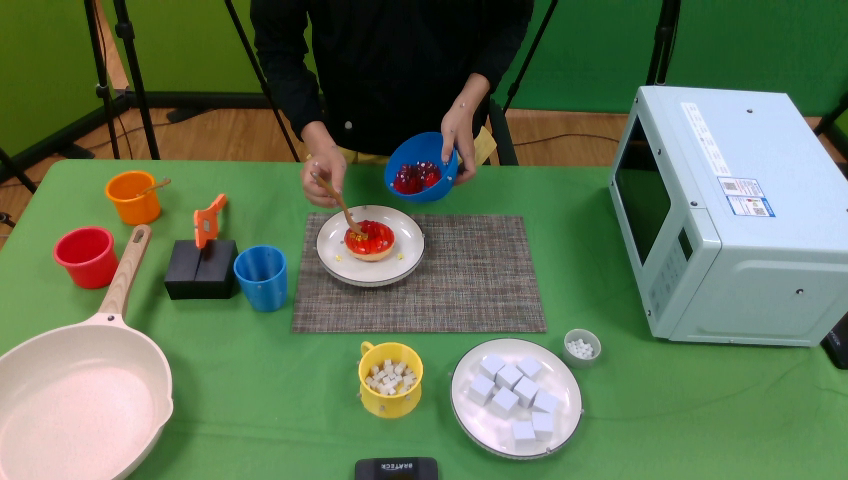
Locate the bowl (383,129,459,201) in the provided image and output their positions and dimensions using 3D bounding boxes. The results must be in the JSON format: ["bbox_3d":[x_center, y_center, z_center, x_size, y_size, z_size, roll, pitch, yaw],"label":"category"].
[{"bbox_3d":[0.008,-0.129,1.163,0.151,0.077,0.150,-15,54,22],"label":"bowl"}]

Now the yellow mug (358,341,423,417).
[{"bbox_3d":[-0.062,0.210,0.961,0.100,0.064,0.130,-29,54,-27],"label":"yellow mug"}]

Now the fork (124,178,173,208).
[{"bbox_3d":[-0.525,-0.089,1.153,0.207,0.019,0.028,-18,27,45],"label":"fork"}]

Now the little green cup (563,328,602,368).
[{"bbox_3d":[0.265,0.184,1.025,0.061,0.039,0.061,1,46,-1],"label":"little green cup"}]

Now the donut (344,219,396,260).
[{"bbox_3d":[-0.103,-0.002,1.157,0.099,0.048,0.098,3,44,-2],"label":"donut"}]

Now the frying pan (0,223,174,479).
[{"bbox_3d":[-0.505,0.169,0.941,0.307,0.103,0.485,5,54,-1],"label":"frying pan"}]

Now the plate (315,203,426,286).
[{"bbox_3d":[-0.101,0.012,1.159,0.209,0.038,0.208,2,46,-2],"label":"plate"}]

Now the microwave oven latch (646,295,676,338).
[{"bbox_3d":[0.413,0.133,1.060,0.030,0.029,0.078,4,46,1],"label":"microwave oven latch"}]

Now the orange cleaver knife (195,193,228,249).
[{"bbox_3d":[-0.406,-0.041,1.163,0.012,0.077,0.210,0,18,-3],"label":"orange cleaver knife"}]

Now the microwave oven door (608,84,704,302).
[{"bbox_3d":[0.424,-0.096,1.138,0.039,0.245,0.353,3,46,-1],"label":"microwave oven door"}]

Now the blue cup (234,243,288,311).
[{"bbox_3d":[-0.276,0.072,1.052,0.093,0.101,0.092,1,48,-1],"label":"blue cup"}]

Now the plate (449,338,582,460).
[{"bbox_3d":[0.141,0.251,0.955,0.208,0.039,0.206,2,46,-2],"label":"plate"}]

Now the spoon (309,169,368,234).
[{"bbox_3d":[-0.148,-0.066,1.056,0.021,0.195,0.041,-36,50,-4],"label":"spoon"}]

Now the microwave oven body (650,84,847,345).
[{"bbox_3d":[0.569,-0.054,1.116,0.326,0.261,0.439,2,46,-1],"label":"microwave oven body"}]
